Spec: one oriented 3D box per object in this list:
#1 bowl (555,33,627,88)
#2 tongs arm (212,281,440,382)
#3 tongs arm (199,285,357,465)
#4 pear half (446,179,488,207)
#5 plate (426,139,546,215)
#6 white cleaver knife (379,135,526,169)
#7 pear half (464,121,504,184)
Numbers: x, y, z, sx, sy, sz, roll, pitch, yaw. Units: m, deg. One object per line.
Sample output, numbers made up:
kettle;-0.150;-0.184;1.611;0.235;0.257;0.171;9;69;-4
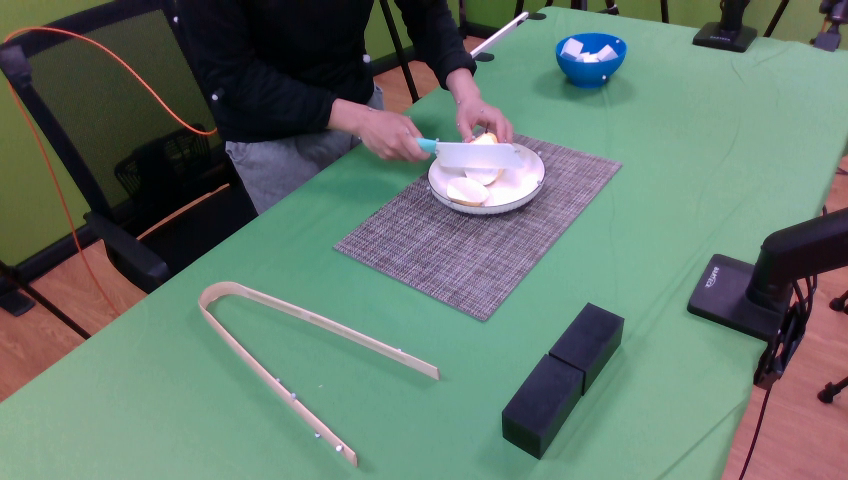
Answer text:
bowl;0.360;-0.384;1.317;0.151;0.077;0.150;-4;41;4
tongs arm;-0.147;0.122;0.846;0.385;0.028;0.028;17;48;25
tongs arm;-0.199;0.162;0.797;0.381;0.026;0.051;28;49;35
pear half;0.068;-0.073;1.018;0.070;0.031;0.088;32;37;33
plate;0.109;-0.107;1.059;0.207;0.039;0.206;-4;41;4
white cleaver knife;0.038;-0.147;1.030;0.284;0.066;0.021;11;57;35
pear half;0.110;-0.157;1.048;0.076;0.110;0.056;19;34;15
